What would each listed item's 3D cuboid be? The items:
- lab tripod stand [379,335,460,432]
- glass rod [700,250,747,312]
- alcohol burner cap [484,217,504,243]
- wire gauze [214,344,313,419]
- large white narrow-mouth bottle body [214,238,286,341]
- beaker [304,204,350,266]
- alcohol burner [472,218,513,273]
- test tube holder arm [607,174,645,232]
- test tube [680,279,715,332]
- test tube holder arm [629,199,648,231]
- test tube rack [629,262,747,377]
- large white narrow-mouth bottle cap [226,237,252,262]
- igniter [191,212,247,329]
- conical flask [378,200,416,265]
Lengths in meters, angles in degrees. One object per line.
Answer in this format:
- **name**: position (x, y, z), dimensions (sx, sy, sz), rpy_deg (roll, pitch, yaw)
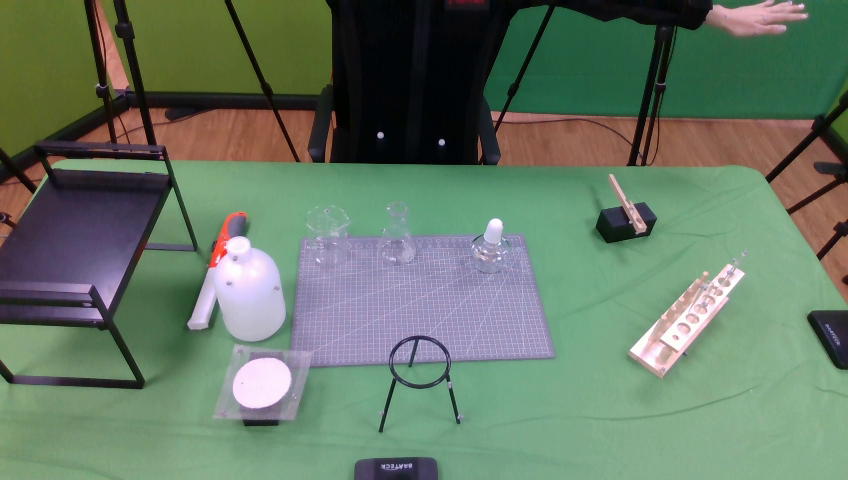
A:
- **lab tripod stand**: position (-0.010, 0.214, 0.911), dimensions (0.148, 0.132, 0.147), rpy_deg (1, 45, 0)
- **glass rod**: position (0.500, 0.075, 1.021), dimensions (0.008, 0.201, 0.008), rpy_deg (0, 54, 1)
- **alcohol burner cap**: position (0.130, -0.021, 1.107), dimensions (0.034, 0.048, 0.033), rpy_deg (6, 46, -6)
- **wire gauze**: position (-0.241, 0.213, 0.915), dimensions (0.121, 0.011, 0.124), rpy_deg (5, 46, 1)
- **large white narrow-mouth bottle body**: position (-0.285, 0.073, 0.986), dimensions (0.102, 0.195, 0.101), rpy_deg (2, 46, -2)
- **beaker**: position (-0.178, -0.006, 1.132), dimensions (0.084, 0.101, 0.073), rpy_deg (4, 46, -1)
- **alcohol burner**: position (0.128, 0.005, 1.132), dimensions (0.078, 0.120, 0.077), rpy_deg (0, 47, 0)
- **test tube holder arm**: position (0.411, -0.080, 1.238), dimensions (0.013, 0.015, 0.177), rpy_deg (1, 41, -13)
- **test tube**: position (0.445, 0.119, 0.997), dimensions (0.017, 0.151, 0.017), rpy_deg (1, 43, -1)
- **test tube holder arm**: position (0.423, -0.050, 1.206), dimensions (0.010, 0.015, 0.087), rpy_deg (1, 41, -12)
- **test tube rack**: position (0.464, 0.126, 1.060), dimensions (0.242, 0.085, 0.066), rpy_deg (-34, 56, -30)
- **large white narrow-mouth bottle cap**: position (-0.282, 0.014, 0.923), dimensions (0.038, 0.024, 0.037), rpy_deg (2, 46, -2)
- **igniter**: position (-0.376, 0.047, 1.121), dimensions (0.057, 0.025, 0.275), rpy_deg (-4, 46, 6)
- **conical flask**: position (-0.050, -0.018, 1.136), dimensions (0.075, 0.122, 0.075), rpy_deg (2, 46, -2)
